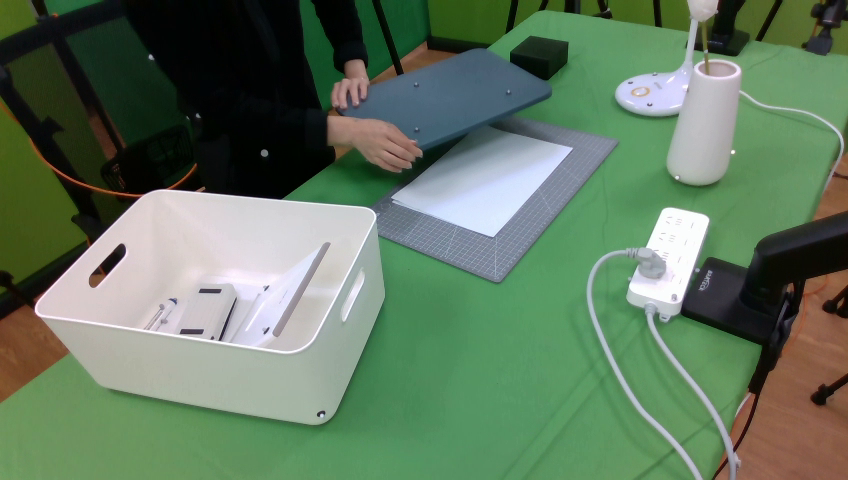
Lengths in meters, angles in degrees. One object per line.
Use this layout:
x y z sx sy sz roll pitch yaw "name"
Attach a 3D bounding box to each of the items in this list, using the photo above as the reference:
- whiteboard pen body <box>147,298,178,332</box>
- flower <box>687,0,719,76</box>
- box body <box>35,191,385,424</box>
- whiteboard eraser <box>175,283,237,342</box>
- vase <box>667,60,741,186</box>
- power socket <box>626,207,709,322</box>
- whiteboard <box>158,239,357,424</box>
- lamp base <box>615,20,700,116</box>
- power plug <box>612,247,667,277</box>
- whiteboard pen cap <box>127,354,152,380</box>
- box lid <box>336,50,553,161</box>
-0.396 0.138 0.868 0.017 0.017 0.140 6 43 15 "whiteboard pen body"
0.436 -0.242 0.934 0.038 0.364 0.043 -24 49 8 "flower"
-0.254 0.081 0.807 0.363 0.161 0.253 5 42 14 "box body"
-0.296 0.109 0.823 0.055 0.042 0.112 3 42 2 "whiteboard eraser"
0.463 -0.189 0.994 0.098 0.201 0.097 -4 40 4 "vase"
0.360 0.026 0.886 0.072 0.033 0.227 17 46 27 "power socket"
-0.242 0.093 0.809 0.304 0.144 0.216 5 44 13 "whiteboard"
0.484 -0.364 1.211 0.180 0.181 0.159 -15 41 -14 "lamp base"
0.306 0.031 0.852 0.072 0.053 0.035 21 48 38 "power plug"
-0.385 0.172 0.821 0.018 0.018 0.033 8 42 17 "whiteboard pen cap"
0.039 -0.274 1.180 0.373 0.015 0.261 -25 45 -19 "box lid"
